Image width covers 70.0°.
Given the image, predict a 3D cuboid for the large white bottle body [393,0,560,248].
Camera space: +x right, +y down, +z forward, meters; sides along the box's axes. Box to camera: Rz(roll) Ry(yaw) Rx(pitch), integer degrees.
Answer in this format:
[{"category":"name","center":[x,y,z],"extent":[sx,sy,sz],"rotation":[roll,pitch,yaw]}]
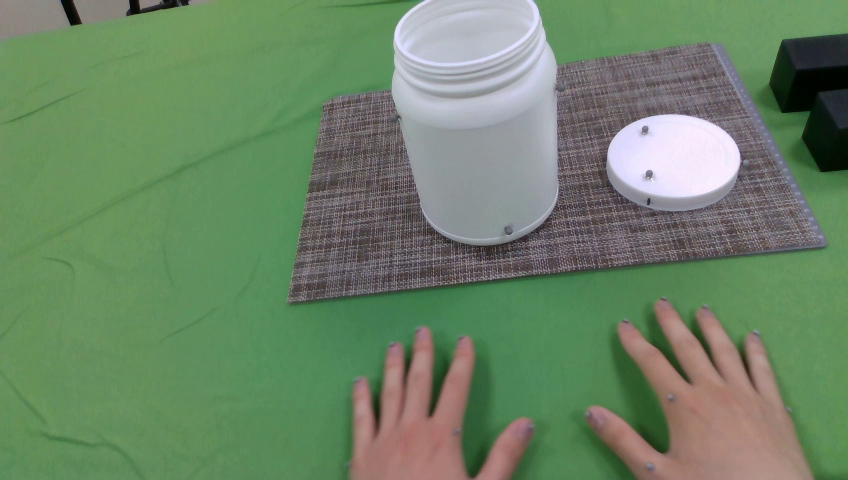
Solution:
[{"category":"large white bottle body","center":[0.047,-0.097,0.513],"extent":[0.130,0.186,0.129],"rotation":[-7,48,8]}]

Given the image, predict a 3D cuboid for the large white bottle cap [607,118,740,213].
[{"category":"large white bottle cap","center":[0.229,-0.072,0.562],"extent":[0.115,0.018,0.113],"rotation":[-6,48,8]}]
